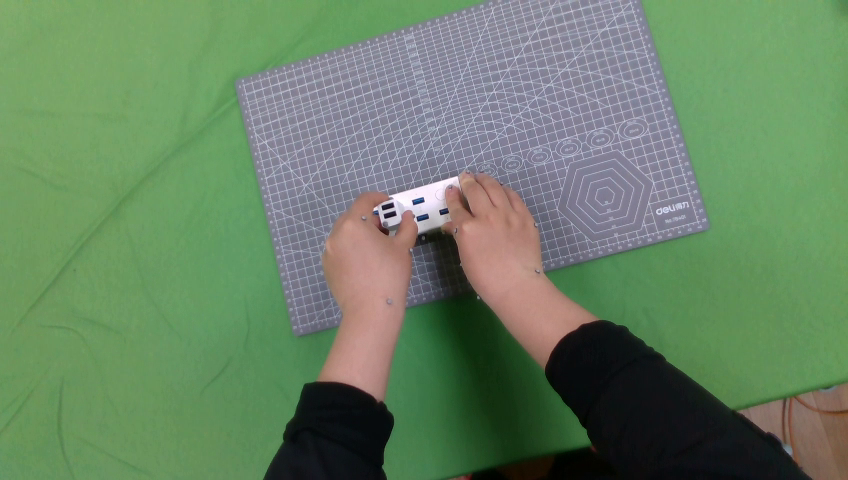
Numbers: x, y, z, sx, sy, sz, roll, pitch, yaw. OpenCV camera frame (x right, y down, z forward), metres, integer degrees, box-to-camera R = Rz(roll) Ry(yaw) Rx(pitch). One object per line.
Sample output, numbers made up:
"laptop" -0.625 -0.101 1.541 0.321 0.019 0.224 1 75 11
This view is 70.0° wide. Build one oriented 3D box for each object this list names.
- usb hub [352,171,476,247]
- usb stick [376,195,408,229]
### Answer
"usb hub" -0.011 -0.033 0.641 0.125 0.025 0.049 -15 83 6
"usb stick" -0.031 -0.027 0.614 0.021 0.059 0.027 -18 80 6
